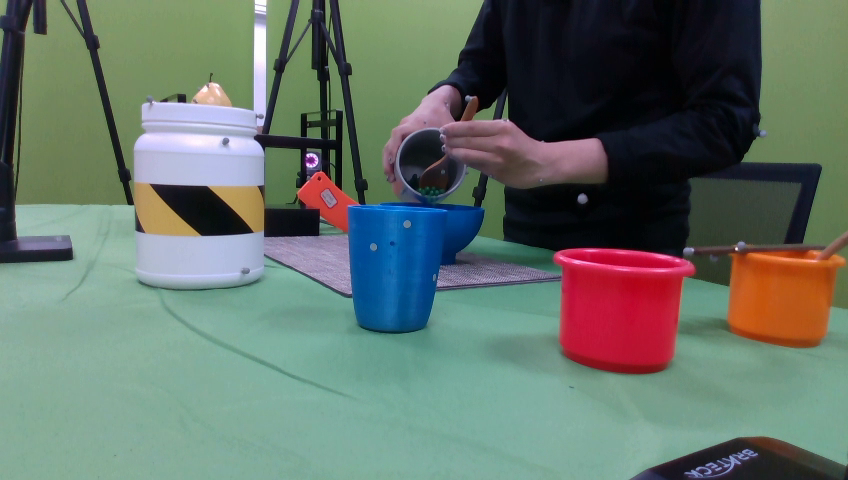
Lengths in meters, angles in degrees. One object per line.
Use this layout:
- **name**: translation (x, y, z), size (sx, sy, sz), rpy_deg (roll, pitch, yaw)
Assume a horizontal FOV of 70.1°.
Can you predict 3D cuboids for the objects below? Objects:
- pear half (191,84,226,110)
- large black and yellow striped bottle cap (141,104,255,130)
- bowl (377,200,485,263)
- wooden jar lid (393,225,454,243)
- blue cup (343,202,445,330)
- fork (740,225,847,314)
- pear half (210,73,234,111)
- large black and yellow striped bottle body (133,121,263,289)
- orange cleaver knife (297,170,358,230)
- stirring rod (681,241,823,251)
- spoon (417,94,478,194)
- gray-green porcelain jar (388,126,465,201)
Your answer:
- **pear half**: translation (-0.406, -0.248, 1.128), size (0.070, 0.088, 0.031), rpy_deg (5, 6, 2)
- **large black and yellow striped bottle cap**: translation (-0.241, -0.131, 0.650), size (0.115, 0.019, 0.115), rpy_deg (3, 8, 0)
- **bowl**: translation (0.008, -0.012, 0.841), size (0.151, 0.077, 0.151), rpy_deg (2, 7, 0)
- **wooden jar lid**: translation (-0.001, -0.011, 1.058), size (0.108, 0.020, 0.108), rpy_deg (8, 5, 0)
- **blue cup**: translation (-0.027, 0.021, 0.510), size (0.093, 0.100, 0.092), rpy_deg (3, 5, 0)
- **fork**: translation (0.323, 0.013, 0.485), size (0.028, 0.018, 0.207), rpy_deg (8, -38, -5)
- **pear half**: translation (-0.402, -0.262, 1.162), size (0.076, 0.109, 0.056), rpy_deg (6, 7, 2)
- **large black and yellow striped bottle body**: translation (-0.243, -0.048, 0.659), size (0.131, 0.184, 0.130), rpy_deg (2, 7, 0)
- **orange cleaver knife**: translation (-0.149, -0.058, 1.170), size (0.212, 0.077, 0.012), rpy_deg (33, -15, -32)
- **stirring rod**: translation (0.289, 0.005, 0.525), size (0.177, 0.006, 0.014), rpy_deg (-1, 5, -26)
- **spoon**: translation (0.034, -0.124, 0.814), size (0.042, 0.021, 0.193), rpy_deg (11, -33, -15)
- **gray-green porcelain jar**: translation (0.000, -0.109, 0.937), size (0.106, 0.105, 0.126), rpy_deg (1, -5, -9)
